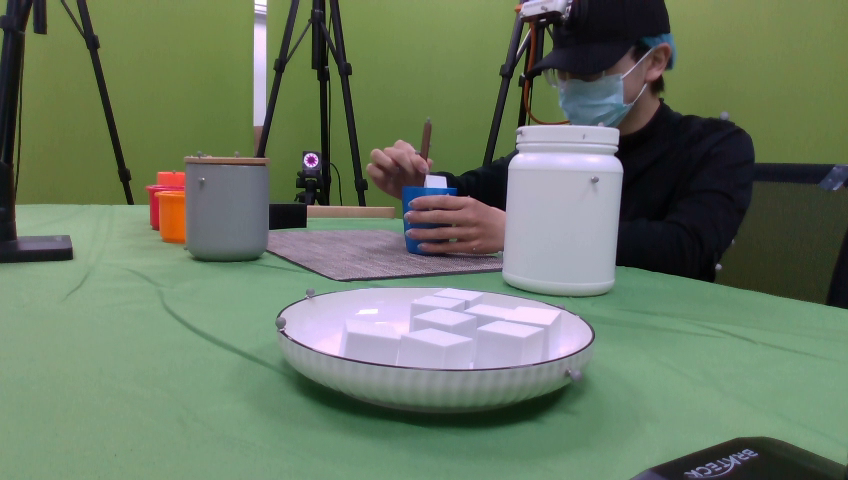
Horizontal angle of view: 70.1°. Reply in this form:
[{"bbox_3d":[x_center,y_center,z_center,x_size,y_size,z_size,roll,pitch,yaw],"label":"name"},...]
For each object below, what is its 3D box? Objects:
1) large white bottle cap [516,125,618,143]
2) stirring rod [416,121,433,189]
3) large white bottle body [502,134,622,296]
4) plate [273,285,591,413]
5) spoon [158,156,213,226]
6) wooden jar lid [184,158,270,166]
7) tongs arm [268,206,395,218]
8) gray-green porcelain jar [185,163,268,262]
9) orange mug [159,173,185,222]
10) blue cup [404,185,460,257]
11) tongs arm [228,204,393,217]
[{"bbox_3d":[0.163,-0.120,0.695,0.115,0.018,0.115,2,8,0],"label":"large white bottle cap"},{"bbox_3d":[-0.005,-0.091,0.914,0.014,0.176,0.006,13,8,35],"label":"stirring rod"},{"bbox_3d":[0.161,-0.037,0.706,0.131,0.184,0.130,2,7,0],"label":"large white bottle body"},{"bbox_3d":[0.005,0.069,0.407,0.208,0.039,0.207,2,7,0],"label":"plate"},{"bbox_3d":[-0.435,-0.094,1.121,0.041,0.022,0.193,5,51,13],"label":"spoon"},{"bbox_3d":[-0.260,-0.099,0.801,0.108,0.020,0.108,0,9,0],"label":"wooden jar lid"},{"bbox_3d":[-0.230,-0.064,1.379,0.387,0.026,0.050,-1,3,-31],"label":"tongs arm"},{"bbox_3d":[-0.263,-0.038,0.808,0.106,0.126,0.106,3,8,0],"label":"gray-green porcelain jar"},{"bbox_3d":[-0.477,-0.089,1.241,0.127,0.101,0.083,-7,11,-33],"label":"orange mug"},{"bbox_3d":[0.008,-0.029,0.914,0.093,0.100,0.092,4,9,0],"label":"blue cup"},{"bbox_3d":[-0.267,-0.070,1.453,0.389,0.027,0.028,0,-1,-18],"label":"tongs arm"}]
